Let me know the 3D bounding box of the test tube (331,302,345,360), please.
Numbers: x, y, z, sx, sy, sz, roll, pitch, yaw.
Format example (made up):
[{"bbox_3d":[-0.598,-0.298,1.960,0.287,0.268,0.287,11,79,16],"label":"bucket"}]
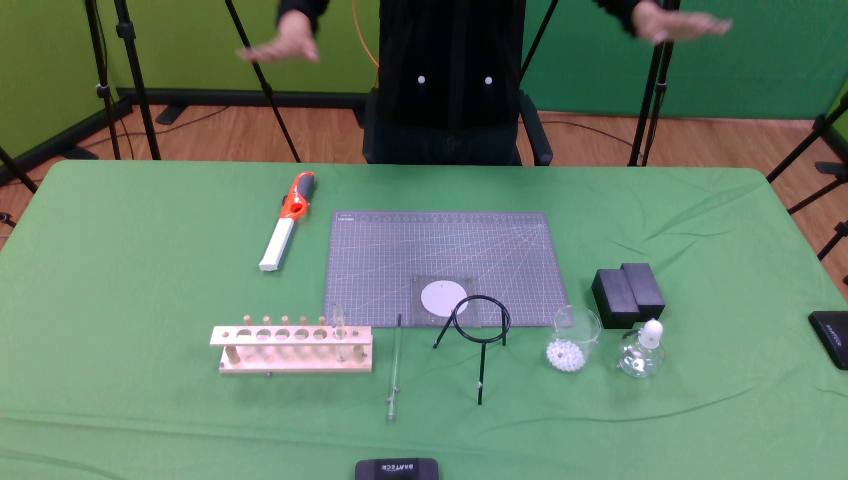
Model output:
[{"bbox_3d":[-0.132,0.144,0.938,0.017,0.151,0.017,2,49,-3],"label":"test tube"}]

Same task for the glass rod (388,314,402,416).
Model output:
[{"bbox_3d":[-0.047,0.203,1.007,0.008,0.008,0.198,4,45,1],"label":"glass rod"}]

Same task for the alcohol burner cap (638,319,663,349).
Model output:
[{"bbox_3d":[0.364,0.147,0.968,0.034,0.048,0.033,-2,44,2],"label":"alcohol burner cap"}]

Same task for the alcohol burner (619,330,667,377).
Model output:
[{"bbox_3d":[0.363,0.172,0.995,0.078,0.120,0.077,2,48,-2],"label":"alcohol burner"}]

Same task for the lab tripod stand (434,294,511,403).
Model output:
[{"bbox_3d":[0.087,0.164,0.969,0.148,0.132,0.147,3,47,-3],"label":"lab tripod stand"}]

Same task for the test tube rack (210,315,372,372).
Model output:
[{"bbox_3d":[-0.208,0.163,0.982,0.242,0.085,0.066,1,46,-4],"label":"test tube rack"}]

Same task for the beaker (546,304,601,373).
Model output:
[{"bbox_3d":[0.242,0.167,1.001,0.084,0.101,0.073,-32,55,-28],"label":"beaker"}]

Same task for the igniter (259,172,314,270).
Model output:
[{"bbox_3d":[-0.273,-0.046,1.220,0.057,0.025,0.275,0,45,11],"label":"igniter"}]

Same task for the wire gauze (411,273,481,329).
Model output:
[{"bbox_3d":[0.038,0.108,1.103,0.125,0.011,0.120,2,47,-3],"label":"wire gauze"}]
